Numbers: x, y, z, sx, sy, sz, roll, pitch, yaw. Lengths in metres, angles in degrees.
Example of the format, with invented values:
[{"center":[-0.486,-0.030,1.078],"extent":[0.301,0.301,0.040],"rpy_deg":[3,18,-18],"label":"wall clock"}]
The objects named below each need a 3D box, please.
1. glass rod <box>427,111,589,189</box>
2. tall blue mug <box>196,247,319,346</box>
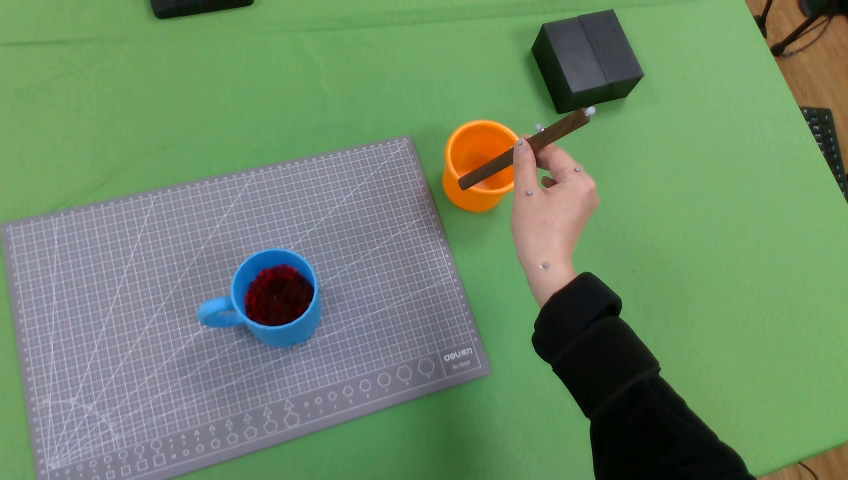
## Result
[{"center":[0.067,-0.077,0.551],"extent":[0.008,0.199,0.008],"rpy_deg":[13,69,-37],"label":"glass rod"},{"center":[-0.155,0.067,0.590],"extent":[0.107,0.108,0.077],"rpy_deg":[-39,82,-18],"label":"tall blue mug"}]
